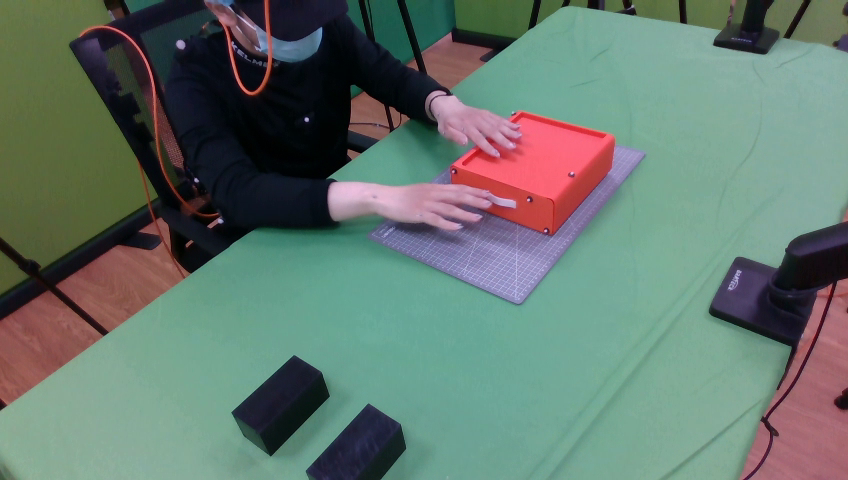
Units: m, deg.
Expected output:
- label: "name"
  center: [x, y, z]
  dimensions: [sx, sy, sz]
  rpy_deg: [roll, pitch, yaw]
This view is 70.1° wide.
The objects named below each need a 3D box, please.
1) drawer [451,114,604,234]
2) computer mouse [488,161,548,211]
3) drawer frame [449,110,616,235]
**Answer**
- label: "drawer"
  center: [0.186, -0.122, 1.033]
  dimensions: [0.193, 0.073, 0.212]
  rpy_deg: [23, 49, 32]
- label: "computer mouse"
  center: [0.159, -0.096, 1.025]
  dimensions: [0.063, 0.041, 0.116]
  rpy_deg: [-15, 49, -20]
- label: "drawer frame"
  center: [0.186, -0.124, 1.035]
  dimensions: [0.200, 0.083, 0.214]
  rpy_deg: [22, 48, 31]
